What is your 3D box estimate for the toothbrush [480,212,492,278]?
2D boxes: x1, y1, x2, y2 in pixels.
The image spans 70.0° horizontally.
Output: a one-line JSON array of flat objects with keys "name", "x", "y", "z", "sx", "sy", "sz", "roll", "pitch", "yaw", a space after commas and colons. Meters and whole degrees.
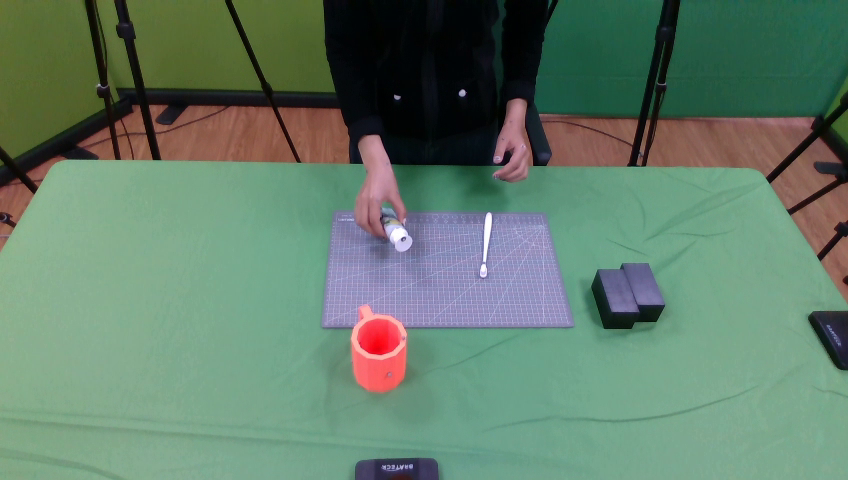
[{"name": "toothbrush", "x": 0.124, "y": 0.004, "z": 1.202, "sx": 0.014, "sy": 0.017, "sz": 0.181, "roll": -1, "pitch": 43, "yaw": 13}]

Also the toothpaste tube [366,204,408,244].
[{"name": "toothpaste tube", "x": -0.064, "y": -0.034, "z": 1.175, "sx": 0.055, "sy": 0.034, "sz": 0.164, "roll": 9, "pitch": 24, "yaw": -27}]

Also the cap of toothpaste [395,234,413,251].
[{"name": "cap of toothpaste", "x": -0.038, "y": 0.003, "z": 1.108, "sx": 0.037, "sy": 0.037, "sz": 0.011, "roll": -21, "pitch": 43, "yaw": -21}]

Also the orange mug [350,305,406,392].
[{"name": "orange mug", "x": -0.080, "y": 0.168, "z": 0.978, "sx": 0.083, "sy": 0.101, "sz": 0.125, "roll": -16, "pitch": 54, "yaw": -18}]
